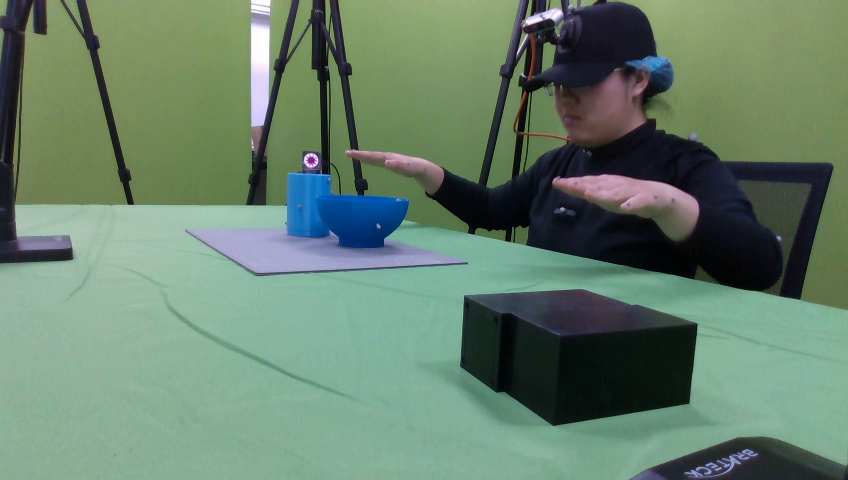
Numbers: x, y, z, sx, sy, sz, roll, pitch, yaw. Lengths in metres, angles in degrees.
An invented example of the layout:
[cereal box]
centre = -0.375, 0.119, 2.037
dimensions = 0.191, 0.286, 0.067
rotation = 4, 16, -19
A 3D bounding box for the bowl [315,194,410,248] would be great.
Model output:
[bowl]
centre = -0.100, -0.031, 0.971
dimensions = 0.151, 0.077, 0.151
rotation = 2, 7, 0

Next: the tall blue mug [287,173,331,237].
[tall blue mug]
centre = -0.207, -0.066, 1.088
dimensions = 0.078, 0.108, 0.107
rotation = 0, 8, -12
